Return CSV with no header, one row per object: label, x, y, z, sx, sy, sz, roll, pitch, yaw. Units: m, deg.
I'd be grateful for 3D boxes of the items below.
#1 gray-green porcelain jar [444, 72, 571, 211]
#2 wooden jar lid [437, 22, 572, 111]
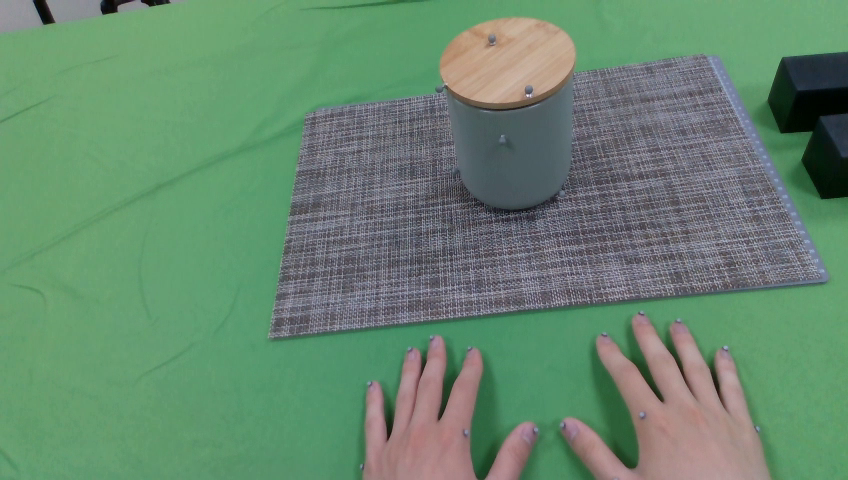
gray-green porcelain jar,0.077,-0.097,0.539,0.106,0.128,0.105,-6,50,7
wooden jar lid,0.065,-0.138,0.491,0.108,0.021,0.107,-5,54,8
